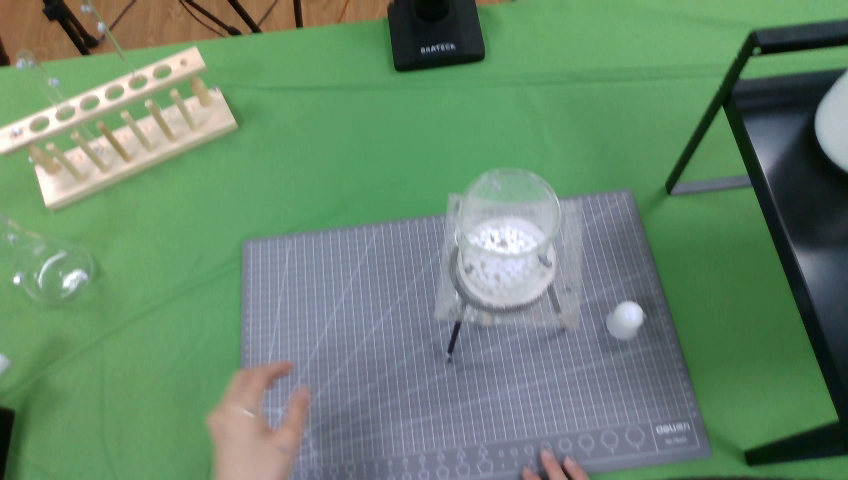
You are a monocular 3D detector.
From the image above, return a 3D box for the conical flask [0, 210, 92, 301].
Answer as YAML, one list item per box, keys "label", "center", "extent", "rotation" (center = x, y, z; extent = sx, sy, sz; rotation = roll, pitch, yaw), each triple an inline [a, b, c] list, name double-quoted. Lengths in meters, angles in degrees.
- label: "conical flask"
  center: [-0.416, 0.011, 0.636]
  extent: [0.075, 0.123, 0.074]
  rotation: [-1, 65, 3]

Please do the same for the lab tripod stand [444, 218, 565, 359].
- label: "lab tripod stand"
  center: [0.073, 0.047, 0.582]
  extent: [0.148, 0.132, 0.147]
  rotation: [-1, 64, 2]

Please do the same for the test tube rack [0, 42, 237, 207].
- label: "test tube rack"
  center: [-0.360, -0.137, 0.721]
  extent: [0.242, 0.086, 0.066]
  rotation: [-27, 66, -9]

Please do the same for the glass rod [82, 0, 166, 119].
- label: "glass rod"
  center: [-0.338, -0.205, 0.678]
  extent: [0.008, 0.201, 0.008]
  rotation: [-3, 57, 5]

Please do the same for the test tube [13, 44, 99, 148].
- label: "test tube"
  center: [-0.406, -0.156, 0.677]
  extent: [0.017, 0.151, 0.017]
  rotation: [-1, 59, 2]

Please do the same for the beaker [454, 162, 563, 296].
- label: "beaker"
  center: [0.062, -0.001, 0.479]
  extent: [0.084, 0.101, 0.073]
  rotation: [-29, 67, -10]

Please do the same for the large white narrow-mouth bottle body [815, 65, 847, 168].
- label: "large white narrow-mouth bottle body"
  center: [0.366, -0.128, 0.417]
  extent: [0.102, 0.196, 0.101]
  rotation: [-2, 65, 4]

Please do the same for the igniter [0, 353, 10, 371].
- label: "igniter"
  center: [-0.479, 0.222, 0.543]
  extent: [0.057, 0.025, 0.275]
  rotation: [19, 67, 22]

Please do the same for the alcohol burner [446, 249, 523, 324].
- label: "alcohol burner"
  center: [0.061, 0.040, 0.597]
  extent: [0.078, 0.120, 0.077]
  rotation: [-1, 63, 2]

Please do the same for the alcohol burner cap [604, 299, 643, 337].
- label: "alcohol burner cap"
  center: [0.203, 0.076, 0.612]
  extent: [0.034, 0.048, 0.033]
  rotation: [-1, 66, 3]

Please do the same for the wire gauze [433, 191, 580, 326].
- label: "wire gauze"
  center: [0.074, 0.014, 0.525]
  extent: [0.121, 0.011, 0.124]
  rotation: [6, 64, 3]
